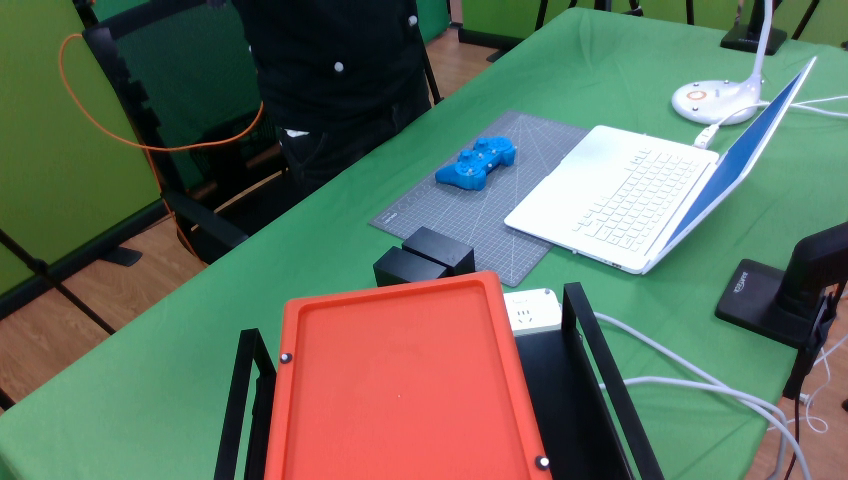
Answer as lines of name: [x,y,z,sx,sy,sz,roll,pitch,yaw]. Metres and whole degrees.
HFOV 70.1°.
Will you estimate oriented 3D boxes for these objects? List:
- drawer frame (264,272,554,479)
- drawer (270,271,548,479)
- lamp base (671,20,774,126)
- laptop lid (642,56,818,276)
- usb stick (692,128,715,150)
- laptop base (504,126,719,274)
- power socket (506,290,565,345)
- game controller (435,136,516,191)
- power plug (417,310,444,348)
drawer frame: [-0.016,0.134,0.494,0.202,0.083,0.212,-8,41,-2]
drawer: [-0.018,0.132,0.498,0.195,0.073,0.210,-7,41,-1]
lamp base: [0.581,-0.332,1.154,0.179,0.181,0.160,2,41,7]
laptop lid: [0.445,-0.108,0.876,0.013,0.241,0.357,39,53,12]
usb stick: [0.501,-0.176,1.091,0.021,0.027,0.059,30,56,29]
laptop base: [0.326,-0.083,1.027,0.233,0.023,0.355,21,48,32]
power socket: [0.081,0.112,0.822,0.227,0.033,0.072,-7,40,0]
game controller: [0.099,-0.150,1.110,0.096,0.052,0.155,30,53,29]
power plug: [0.007,0.123,0.784,0.035,0.053,0.072,-1,43,7]
